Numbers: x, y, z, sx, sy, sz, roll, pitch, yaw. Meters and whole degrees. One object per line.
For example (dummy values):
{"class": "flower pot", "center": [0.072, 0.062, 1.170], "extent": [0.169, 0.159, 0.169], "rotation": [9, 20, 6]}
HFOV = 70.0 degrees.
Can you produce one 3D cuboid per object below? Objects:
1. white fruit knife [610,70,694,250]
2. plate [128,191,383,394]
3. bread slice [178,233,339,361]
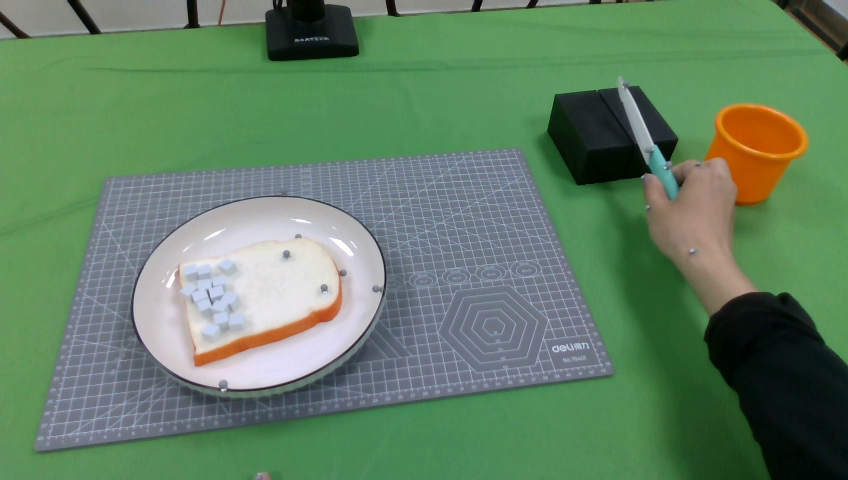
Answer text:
{"class": "white fruit knife", "center": [0.224, -0.088, 0.607], "extent": [0.016, 0.027, 0.205], "rotation": [-10, 67, -13]}
{"class": "plate", "center": [-0.139, 0.041, 0.520], "extent": [0.209, 0.038, 0.207], "rotation": [2, 48, -2]}
{"class": "bread slice", "center": [-0.142, 0.039, 0.526], "extent": [0.132, 0.019, 0.103], "rotation": [-18, 52, -16]}
